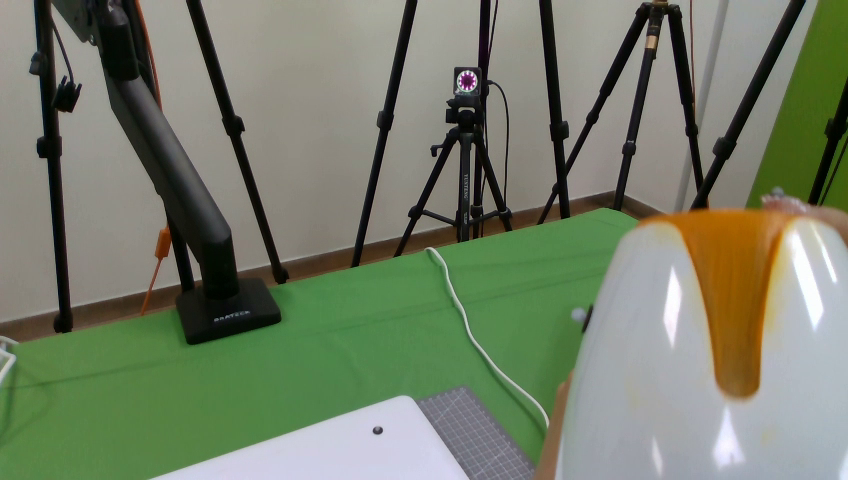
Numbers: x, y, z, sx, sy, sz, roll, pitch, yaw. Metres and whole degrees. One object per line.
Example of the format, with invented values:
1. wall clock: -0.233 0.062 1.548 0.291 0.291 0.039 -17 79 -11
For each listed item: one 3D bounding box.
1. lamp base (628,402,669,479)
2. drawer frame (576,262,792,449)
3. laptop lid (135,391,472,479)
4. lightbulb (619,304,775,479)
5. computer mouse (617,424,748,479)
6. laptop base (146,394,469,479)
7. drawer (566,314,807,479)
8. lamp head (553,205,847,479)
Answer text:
1. lamp base: 0.152 0.215 0.410 0.161 0.181 0.178 1 25 -3
2. drawer frame: 0.296 0.121 0.711 0.201 0.083 0.213 10 28 18
3. laptop lid: -0.120 0.247 0.492 0.358 0.013 0.239 -12 32 -24
4. lightbulb: 0.091 0.074 0.199 0.059 0.107 0.060 5 -12 2
5. computer mouse: 0.243 0.210 0.572 0.117 0.041 0.062 10 28 10
6. laptop base: -0.121 0.256 0.499 0.355 0.023 0.233 -13 33 -25
7. drawer: 0.258 0.170 0.618 0.194 0.074 0.211 9 28 17
8. lamp head: 0.099 0.051 0.201 0.112 0.122 0.113 5 -14 2
